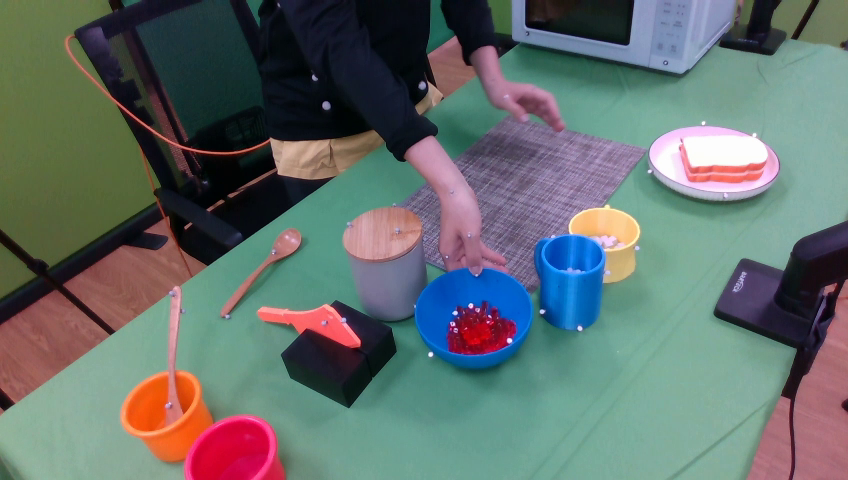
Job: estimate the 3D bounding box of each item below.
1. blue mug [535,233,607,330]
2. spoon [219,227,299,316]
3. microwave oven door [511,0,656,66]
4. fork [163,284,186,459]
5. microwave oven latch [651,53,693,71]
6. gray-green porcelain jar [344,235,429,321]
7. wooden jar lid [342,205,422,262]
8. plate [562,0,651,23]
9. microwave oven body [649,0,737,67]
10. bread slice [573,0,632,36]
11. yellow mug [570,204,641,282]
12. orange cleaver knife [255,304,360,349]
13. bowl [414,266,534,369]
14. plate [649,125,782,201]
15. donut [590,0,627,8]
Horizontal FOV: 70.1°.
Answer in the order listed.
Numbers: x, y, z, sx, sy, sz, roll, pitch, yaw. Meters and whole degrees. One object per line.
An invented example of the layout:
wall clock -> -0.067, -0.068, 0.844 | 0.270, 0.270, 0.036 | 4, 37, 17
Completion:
blue mug -> 0.191, 0.048, 0.824 | 0.082, 0.106, 0.115 | -26, 44, -20
spoon -> -0.261, 0.046, 0.954 | 0.041, 0.021, 0.194 | 26, 48, 10
microwave oven door -> 0.351, -0.539, 1.349 | 0.353, 0.245, 0.039 | 24, 50, 31
fork -> -0.303, 0.157, 0.733 | 0.028, 0.019, 0.207 | -3, 84, 13
microwave oven latch -> 0.532, -0.386, 1.301 | 0.078, 0.029, 0.030 | 27, 52, 34
gray-green porcelain jar -> -0.049, 0.042, 0.849 | 0.106, 0.127, 0.105 | -5, 41, 4
wooden jar lid -> -0.055, -0.006, 0.808 | 0.108, 0.021, 0.108 | -6, 40, 6
plate -> 0.440, -0.573, 1.455 | 0.209, 0.038, 0.208 | -6, 43, 6
microwave oven body -> 0.475, -0.602, 1.411 | 0.438, 0.261, 0.327 | 23, 50, 32
bread slice -> 0.429, -0.559, 1.477 | 0.105, 0.019, 0.131 | -28, 69, -20
yellow mug -> 0.268, -0.005, 0.904 | 0.099, 0.064, 0.130 | 7, 41, 15
orange cleaver knife -> -0.161, 0.115, 0.813 | 0.210, 0.077, 0.012 | -4, 32, 47
bowl -> 0.066, 0.113, 0.780 | 0.151, 0.077, 0.150 | -3, 43, 4
plate -> 0.493, -0.128, 1.036 | 0.207, 0.039, 0.206 | -4, 41, 4
donut -> 0.438, -0.587, 1.433 | 0.099, 0.048, 0.098 | -2, 53, 3
